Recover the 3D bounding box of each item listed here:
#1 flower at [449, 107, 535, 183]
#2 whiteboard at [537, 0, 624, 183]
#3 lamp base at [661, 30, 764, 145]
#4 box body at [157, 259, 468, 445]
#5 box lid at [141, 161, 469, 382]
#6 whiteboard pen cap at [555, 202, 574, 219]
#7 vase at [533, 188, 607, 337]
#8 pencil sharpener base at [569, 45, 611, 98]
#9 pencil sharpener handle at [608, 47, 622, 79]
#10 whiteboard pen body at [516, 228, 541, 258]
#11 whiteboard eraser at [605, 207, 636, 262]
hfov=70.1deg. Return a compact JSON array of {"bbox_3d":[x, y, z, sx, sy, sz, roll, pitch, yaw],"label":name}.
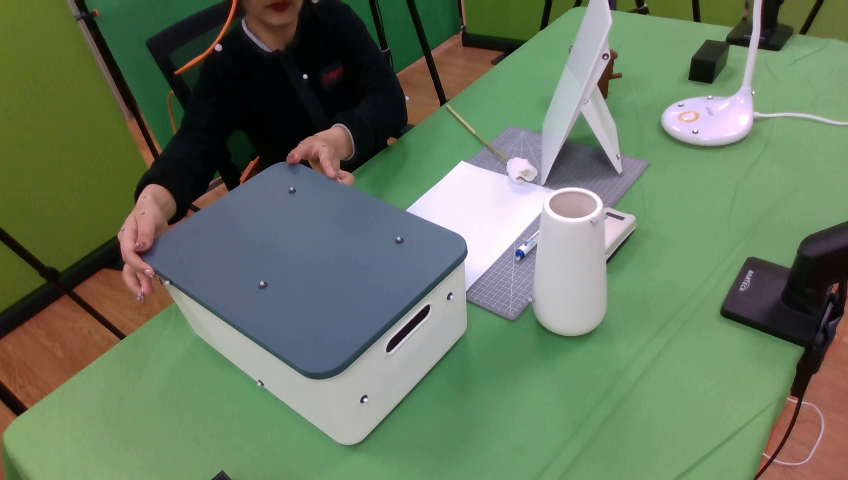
[{"bbox_3d":[0.119,-0.202,1.201,0.044,0.038,0.358,-23,37,-8],"label":"flower"},{"bbox_3d":[0.316,-0.256,1.047,0.144,0.306,0.216,15,42,-1],"label":"whiteboard"},{"bbox_3d":[0.535,-0.287,1.096,0.179,0.181,0.159,-10,40,-4],"label":"lamp base"},{"bbox_3d":[-0.147,0.072,0.816,0.361,0.161,0.255,24,50,33],"label":"box body"},{"bbox_3d":[-0.158,0.012,0.765,0.368,0.015,0.264,25,49,32],"label":"box lid"},{"bbox_3d":[0.230,-0.048,0.994,0.018,0.018,0.033,26,54,34],"label":"whiteboard pen cap"},{"bbox_3d":[0.187,0.033,0.771,0.098,0.201,0.097,-6,41,6],"label":"vase"},{"bbox_3d":[0.346,-0.352,1.262,0.077,0.107,0.061,-10,40,-1],"label":"pencil sharpener base"},{"bbox_3d":[0.395,-0.368,1.254,0.031,0.068,0.036,-10,32,-1],"label":"pencil sharpener handle"},{"bbox_3d":[0.192,-0.015,0.963,0.017,0.017,0.141,26,51,34],"label":"whiteboard pen body"},{"bbox_3d":[0.272,-0.003,0.919,0.055,0.042,0.113,27,51,32],"label":"whiteboard eraser"}]
